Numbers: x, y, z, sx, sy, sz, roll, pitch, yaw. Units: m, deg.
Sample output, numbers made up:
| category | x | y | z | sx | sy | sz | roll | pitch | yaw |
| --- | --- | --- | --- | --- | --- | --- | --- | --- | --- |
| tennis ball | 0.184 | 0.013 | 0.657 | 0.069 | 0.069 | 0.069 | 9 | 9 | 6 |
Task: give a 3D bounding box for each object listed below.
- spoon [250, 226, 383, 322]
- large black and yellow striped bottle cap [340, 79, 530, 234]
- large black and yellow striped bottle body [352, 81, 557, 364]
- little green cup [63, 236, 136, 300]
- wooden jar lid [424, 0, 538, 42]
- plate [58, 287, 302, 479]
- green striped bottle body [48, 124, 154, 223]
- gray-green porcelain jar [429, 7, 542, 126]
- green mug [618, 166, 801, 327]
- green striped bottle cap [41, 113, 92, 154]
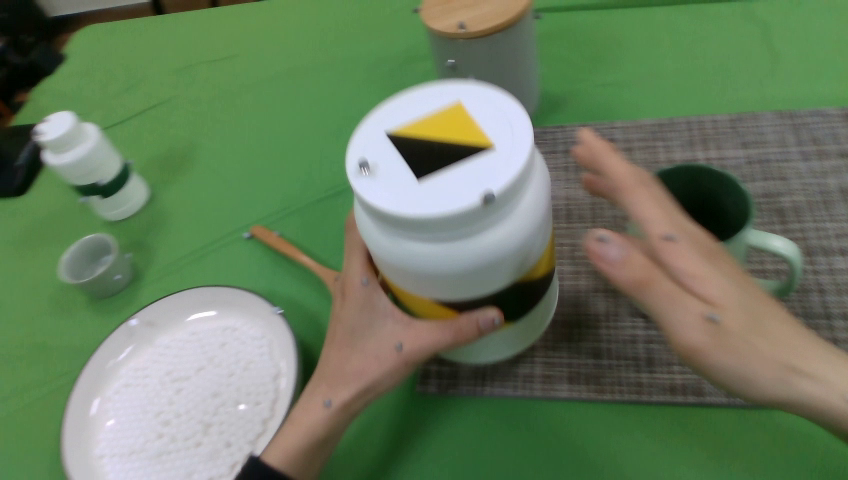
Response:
| category | x | y | z | sx | sy | sz | roll | pitch | yaw |
| --- | --- | --- | --- | --- | --- | --- | --- | --- | --- |
| spoon | -0.110 | 0.024 | 0.585 | 0.192 | 0.022 | 0.041 | 29 | 81 | 30 |
| large black and yellow striped bottle cap | 0.006 | -0.054 | 0.364 | 0.115 | 0.019 | 0.114 | -6 | 53 | 9 |
| large black and yellow striped bottle body | 0.025 | -0.006 | 0.430 | 0.130 | 0.186 | 0.129 | -7 | 54 | 10 |
| little green cup | -0.332 | 0.031 | 0.626 | 0.061 | 0.039 | 0.061 | -7 | 52 | 9 |
| wooden jar lid | 0.055 | -0.217 | 0.576 | 0.108 | 0.021 | 0.107 | -9 | 50 | 11 |
| plate | -0.199 | 0.136 | 0.514 | 0.209 | 0.038 | 0.207 | -7 | 52 | 9 |
| green striped bottle body | -0.356 | -0.078 | 0.661 | 0.063 | 0.120 | 0.062 | -7 | 52 | 10 |
| gray-green porcelain jar | 0.067 | -0.176 | 0.623 | 0.106 | 0.128 | 0.105 | -7 | 48 | 8 |
| green mug | 0.213 | 0.012 | 0.457 | 0.124 | 0.106 | 0.092 | 18 | 59 | 25 |
| green striped bottle cap | -0.366 | -0.109 | 0.621 | 0.044 | 0.020 | 0.044 | -5 | 54 | 7 |
